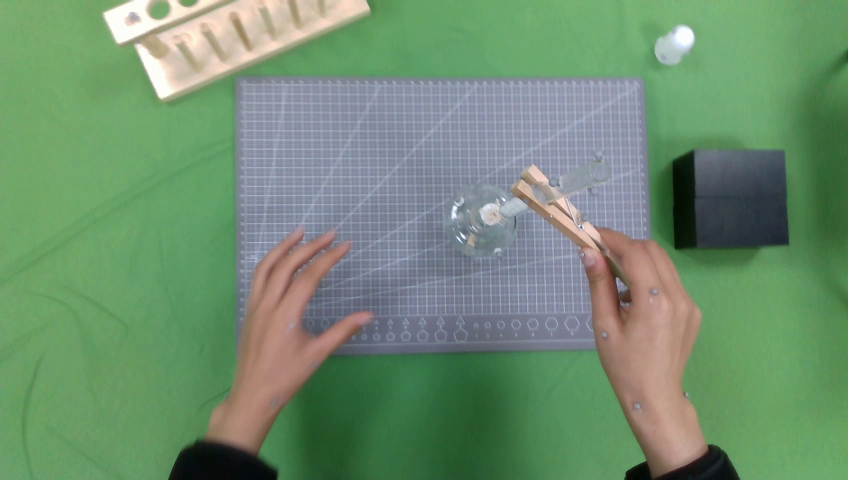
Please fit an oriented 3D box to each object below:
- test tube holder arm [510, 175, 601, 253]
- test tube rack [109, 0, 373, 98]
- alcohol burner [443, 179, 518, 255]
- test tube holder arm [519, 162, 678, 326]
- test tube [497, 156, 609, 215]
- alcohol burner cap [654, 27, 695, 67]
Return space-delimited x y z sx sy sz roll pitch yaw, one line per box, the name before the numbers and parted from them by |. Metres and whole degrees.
test tube holder arm | 0.102 -0.018 0.460 0.088 0.015 0.010 36 77 -14
test tube rack | -0.177 -0.236 0.620 0.242 0.085 0.066 -25 87 -5
alcohol burner | 0.059 -0.025 0.605 0.078 0.119 0.078 0 87 -5
test tube holder arm | 0.139 0.006 0.471 0.179 0.015 0.013 43 76 -12
test tube | 0.089 -0.037 0.449 0.017 0.150 0.017 2 83 -17
alcohol burner cap | 0.280 -0.216 0.672 0.034 0.048 0.034 0 85 -3
